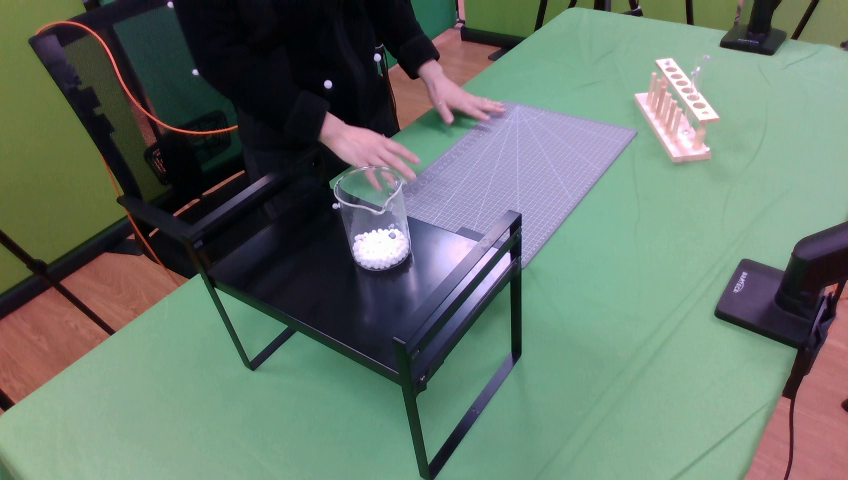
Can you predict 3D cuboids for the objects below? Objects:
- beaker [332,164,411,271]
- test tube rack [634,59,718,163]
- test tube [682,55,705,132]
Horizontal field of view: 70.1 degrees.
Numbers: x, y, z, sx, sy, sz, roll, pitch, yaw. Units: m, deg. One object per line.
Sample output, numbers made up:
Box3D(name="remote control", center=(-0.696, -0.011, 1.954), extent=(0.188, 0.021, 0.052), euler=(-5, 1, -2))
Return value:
Box3D(name="beaker", center=(-0.053, -0.020, 0.669), extent=(0.074, 0.101, 0.083), euler=(-19, 42, -12))
Box3D(name="test tube rack", center=(0.470, -0.250, 1.148), extent=(0.067, 0.085, 0.241), euler=(-6, 40, 3))
Box3D(name="test tube", center=(0.480, -0.258, 1.080), extent=(0.017, 0.151, 0.017), euler=(-5, 43, 5))
